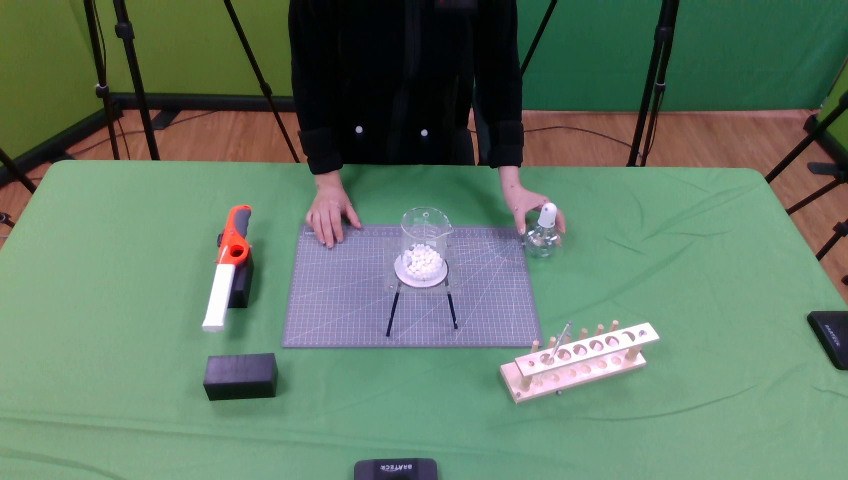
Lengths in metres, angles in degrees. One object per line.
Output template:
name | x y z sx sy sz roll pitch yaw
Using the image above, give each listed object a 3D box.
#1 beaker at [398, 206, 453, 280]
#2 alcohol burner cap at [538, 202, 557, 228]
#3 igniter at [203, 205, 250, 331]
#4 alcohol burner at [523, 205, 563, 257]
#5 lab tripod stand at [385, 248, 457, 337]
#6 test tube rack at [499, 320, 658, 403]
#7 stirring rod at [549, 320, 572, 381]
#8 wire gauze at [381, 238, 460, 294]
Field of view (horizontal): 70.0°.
beaker | 0.000 0.008 0.950 0.084 0.101 0.073 10 45 6
alcohol burner cap | 0.235 -0.049 1.143 0.034 0.048 0.033 2 42 -2
igniter | -0.345 0.039 1.065 0.057 0.025 0.274 2 48 -6
alcohol burner | 0.232 -0.024 1.170 0.078 0.120 0.077 2 47 -1
lab tripod stand | -0.010 0.087 1.032 0.148 0.132 0.147 1 45 -1
test tube rack | 0.252 0.187 0.994 0.243 0.085 0.066 -12 48 -15
stirring rod | 0.202 0.167 0.901 0.006 0.177 0.014 -17 55 -11
wire gauze | -0.007 0.042 0.985 0.125 0.011 0.120 -1 43 -2
